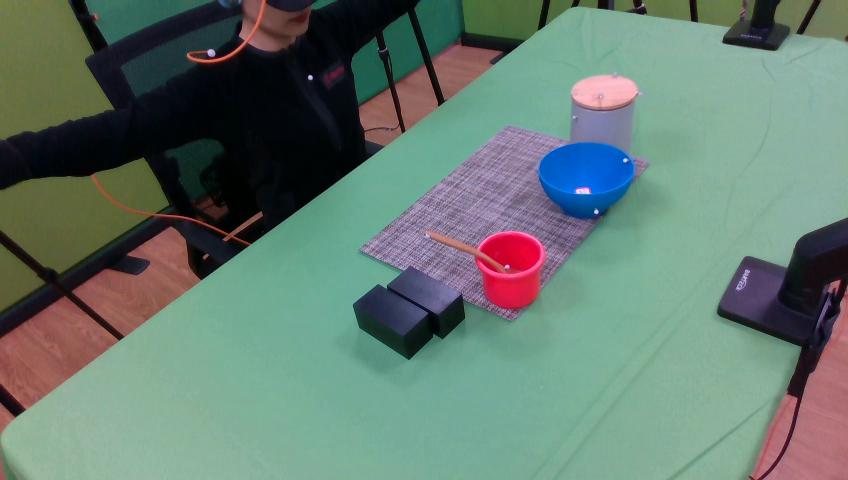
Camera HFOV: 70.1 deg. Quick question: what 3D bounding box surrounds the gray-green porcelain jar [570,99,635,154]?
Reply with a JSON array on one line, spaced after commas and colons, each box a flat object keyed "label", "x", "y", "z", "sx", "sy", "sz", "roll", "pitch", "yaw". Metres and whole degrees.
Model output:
[{"label": "gray-green porcelain jar", "x": 0.313, "y": -0.197, "z": 1.069, "sx": 0.106, "sy": 0.127, "sz": 0.105, "roll": -5, "pitch": 40, "yaw": 5}]

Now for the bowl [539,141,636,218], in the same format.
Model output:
[{"label": "bowl", "x": 0.264, "y": -0.089, "z": 0.989, "sx": 0.151, "sy": 0.077, "sz": 0.150, "roll": -5, "pitch": 40, "yaw": 5}]

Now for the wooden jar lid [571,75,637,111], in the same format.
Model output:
[{"label": "wooden jar lid", "x": 0.305, "y": -0.246, "z": 1.027, "sx": 0.108, "sy": 0.021, "sz": 0.108, "roll": -5, "pitch": 41, "yaw": 5}]

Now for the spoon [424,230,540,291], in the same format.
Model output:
[{"label": "spoon", "x": 0.083, "y": 0.026, "z": 0.836, "sx": 0.195, "sy": 0.021, "sz": 0.041, "roll": 29, "pitch": 31, "yaw": -24}]
